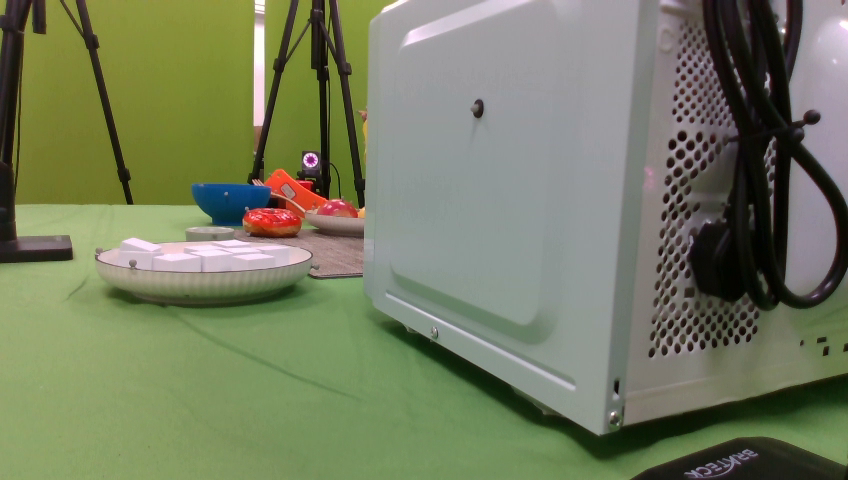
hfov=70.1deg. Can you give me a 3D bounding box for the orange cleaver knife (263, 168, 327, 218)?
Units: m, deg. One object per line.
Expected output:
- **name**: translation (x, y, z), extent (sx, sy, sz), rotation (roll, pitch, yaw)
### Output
- **orange cleaver knife**: translation (-0.262, -0.088, 1.353), extent (0.211, 0.077, 0.012), rotation (28, 13, -1)

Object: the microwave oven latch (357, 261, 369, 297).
- **microwave oven latch**: translation (-0.019, 0.033, 0.531), extent (0.079, 0.029, 0.030), rotation (-1, 7, -27)

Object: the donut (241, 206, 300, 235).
- **donut**: translation (-0.263, -0.032, 1.039), extent (0.099, 0.048, 0.099), rotation (4, 10, 0)

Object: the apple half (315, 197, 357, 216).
- **apple half**: translation (-0.161, -0.052, 1.121), extent (0.081, 0.053, 0.074), rotation (4, 7, -14)

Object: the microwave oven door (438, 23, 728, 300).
- **microwave oven door**: translation (0.181, -0.072, 0.621), extent (0.358, 0.243, 0.039), rotation (-2, 8, -29)

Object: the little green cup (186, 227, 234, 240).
- **little green cup**: translation (-0.284, 0.005, 0.805), extent (0.061, 0.038, 0.061), rotation (2, 8, 0)

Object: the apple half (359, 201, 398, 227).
- **apple half**: translation (-0.088, -0.058, 1.191), extent (0.081, 0.033, 0.081), rotation (9, 30, -5)

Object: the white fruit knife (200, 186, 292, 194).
- **white fruit knife**: translation (-0.399, -0.111, 1.368), extent (0.208, 0.016, 0.027), rotation (-4, -19, -30)

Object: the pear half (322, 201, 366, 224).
- **pear half**: translation (-0.157, -0.058, 1.197), extent (0.088, 0.031, 0.070), rotation (12, 31, -4)

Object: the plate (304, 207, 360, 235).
- **plate**: translation (-0.123, -0.037, 1.149), extent (0.209, 0.038, 0.209), rotation (2, 7, 0)

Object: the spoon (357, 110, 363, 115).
- **spoon**: translation (-0.103, -0.244, 1.193), extent (0.042, 0.021, 0.193), rotation (9, 17, -22)

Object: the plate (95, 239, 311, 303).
- **plate**: translation (-0.224, 0.031, 0.629), extent (0.208, 0.039, 0.207), rotation (2, 8, 0)

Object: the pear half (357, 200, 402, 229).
- **pear half**: translation (-0.074, -0.047, 1.132), extent (0.076, 0.056, 0.110), rotation (12, 7, 31)

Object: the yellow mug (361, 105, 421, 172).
- **yellow mug**: translation (-0.057, -0.179, 1.035), extent (0.100, 0.064, 0.131), rotation (-3, -27, -5)

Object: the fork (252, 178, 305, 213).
- **fork**: translation (-0.295, -0.084, 1.292), extent (0.206, 0.018, 0.028), rotation (29, 8, 25)

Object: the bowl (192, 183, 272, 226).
- **bowl**: translation (-0.381, -0.071, 1.202), extent (0.151, 0.077, 0.151), rotation (3, 7, 0)

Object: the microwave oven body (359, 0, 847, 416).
- **microwave oven body**: translation (0.211, -0.047, 0.474), extent (0.444, 0.260, 0.324), rotation (-1, 7, -28)
